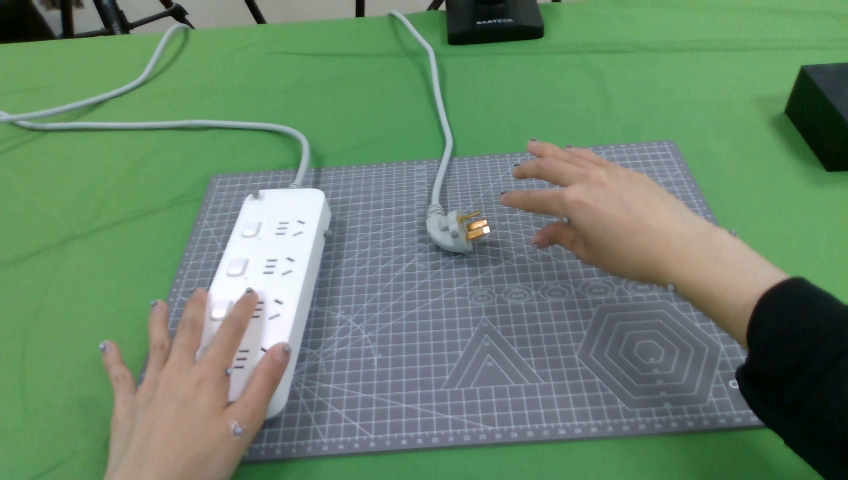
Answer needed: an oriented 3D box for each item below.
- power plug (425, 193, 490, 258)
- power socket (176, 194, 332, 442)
[{"bbox_3d":[0.026,-0.019,0.500,0.052,0.035,0.072,-13,64,14],"label":"power plug"},{"bbox_3d":[-0.121,0.042,0.464,0.072,0.033,0.224,0,45,4],"label":"power socket"}]
